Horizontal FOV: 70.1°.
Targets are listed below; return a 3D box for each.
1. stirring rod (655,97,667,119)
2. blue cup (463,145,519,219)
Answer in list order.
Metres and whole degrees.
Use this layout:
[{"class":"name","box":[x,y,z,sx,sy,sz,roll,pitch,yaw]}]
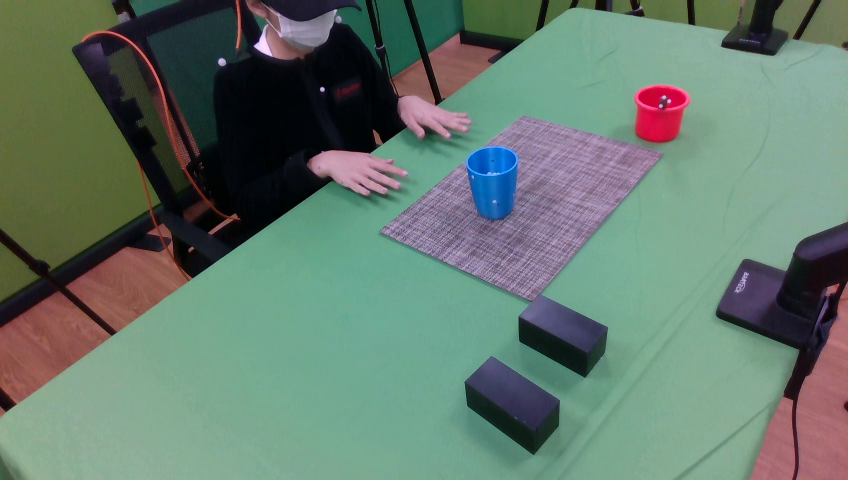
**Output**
[{"class":"stirring rod","box":[0.432,-0.239,1.102,0.014,0.006,0.177,4,2,19]},{"class":"blue cup","box":[0.115,-0.090,0.996,0.092,0.101,0.092,-5,41,5]}]
